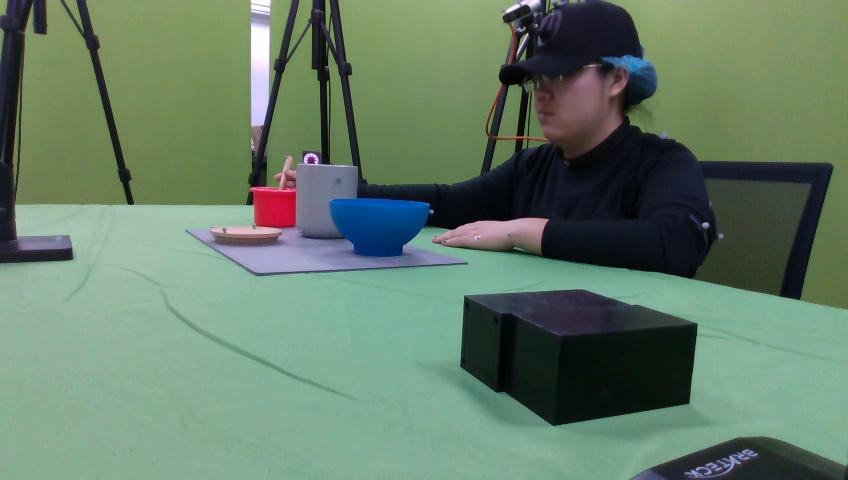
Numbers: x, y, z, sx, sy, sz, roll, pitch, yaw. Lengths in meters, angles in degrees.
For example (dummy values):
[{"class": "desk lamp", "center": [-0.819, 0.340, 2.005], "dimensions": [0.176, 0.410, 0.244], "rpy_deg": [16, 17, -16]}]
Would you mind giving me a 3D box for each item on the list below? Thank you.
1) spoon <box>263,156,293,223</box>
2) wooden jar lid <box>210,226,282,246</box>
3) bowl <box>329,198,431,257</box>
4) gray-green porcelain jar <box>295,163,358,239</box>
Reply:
[{"class": "spoon", "center": [-0.289, -0.106, 1.231], "dimensions": [0.041, 0.193, 0.021], "rpy_deg": [2, -36, 3]}, {"class": "wooden jar lid", "center": [-0.279, -0.007, 0.951], "dimensions": [0.108, 0.020, 0.108], "rpy_deg": [2, 8, 0]}, {"class": "bowl", "center": [-0.067, -0.019, 0.894], "dimensions": [0.151, 0.077, 0.151], "rpy_deg": [3, 7, 0]}, {"class": "gray-green porcelain jar", "center": [-0.170, -0.069, 1.054], "dimensions": [0.106, 0.126, 0.106], "rpy_deg": [3, 7, 0]}]
